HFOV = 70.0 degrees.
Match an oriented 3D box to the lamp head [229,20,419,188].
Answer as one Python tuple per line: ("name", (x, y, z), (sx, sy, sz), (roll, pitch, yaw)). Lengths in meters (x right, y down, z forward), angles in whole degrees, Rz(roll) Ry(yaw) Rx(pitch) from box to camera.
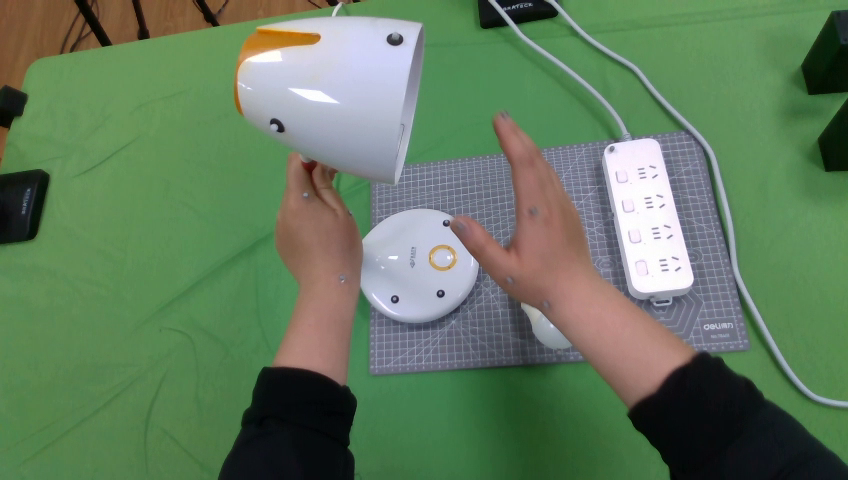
("lamp head", (-0.069, -0.098, 0.423), (0.123, 0.113, 0.111), (8, 69, 5))

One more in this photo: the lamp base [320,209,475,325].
("lamp base", (-0.039, 0.006, 0.721), (0.179, 0.182, 0.159), (-12, 65, 9))

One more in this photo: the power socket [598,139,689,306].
("power socket", (0.271, -0.029, 0.759), (0.072, 0.033, 0.225), (-7, 66, 7))

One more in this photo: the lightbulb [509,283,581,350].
("lightbulb", (0.140, 0.087, 0.726), (0.059, 0.060, 0.106), (-40, 50, -7))
